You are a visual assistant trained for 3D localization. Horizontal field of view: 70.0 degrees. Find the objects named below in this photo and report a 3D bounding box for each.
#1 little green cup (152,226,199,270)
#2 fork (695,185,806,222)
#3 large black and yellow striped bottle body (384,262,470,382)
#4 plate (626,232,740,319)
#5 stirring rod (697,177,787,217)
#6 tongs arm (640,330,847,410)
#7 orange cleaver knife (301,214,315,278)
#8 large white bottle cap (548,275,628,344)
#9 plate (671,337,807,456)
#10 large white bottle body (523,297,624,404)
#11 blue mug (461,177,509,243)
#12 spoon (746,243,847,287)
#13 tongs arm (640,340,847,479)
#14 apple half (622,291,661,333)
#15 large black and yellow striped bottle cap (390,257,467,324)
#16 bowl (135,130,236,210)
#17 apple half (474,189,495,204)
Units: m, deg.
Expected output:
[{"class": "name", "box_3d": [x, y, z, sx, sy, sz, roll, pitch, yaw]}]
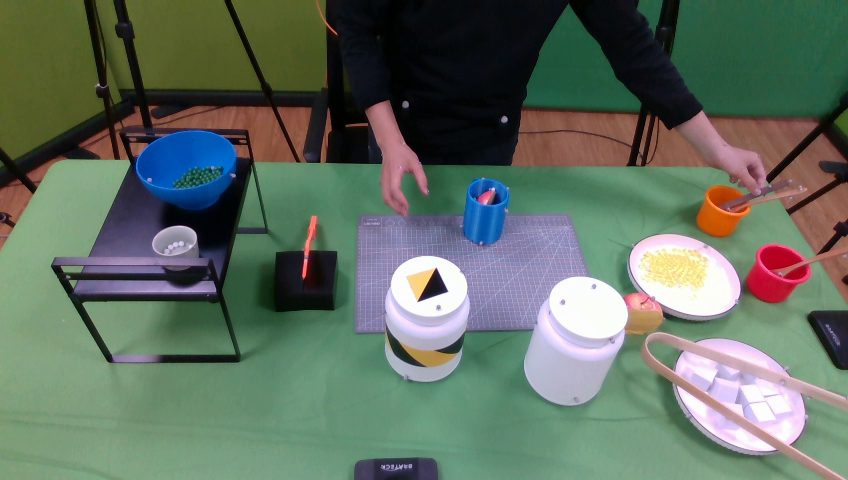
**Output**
[{"class": "little green cup", "box_3d": [-0.364, 0.013, 0.894, 0.061, 0.039, 0.061, 3, 46, -3]}, {"class": "fork", "box_3d": [0.657, -0.073, 1.229, 0.207, 0.019, 0.028, -23, 34, 38]}, {"class": "large black and yellow striped bottle body", "box_3d": [0.002, 0.127, 0.962, 0.131, 0.185, 0.130, 2, 48, -2]}, {"class": "plate", "box_3d": [0.488, 0.071, 1.157, 0.209, 0.038, 0.208, 3, 46, -3]}, {"class": "stirring rod", "box_3d": [0.649, -0.087, 1.242, 0.006, 0.176, 0.014, 15, 56, -52]}, {"class": "tongs arm", "box_3d": [0.543, 0.225, 0.969, 0.384, 0.026, 0.050, 22, 52, 13]}, {"class": "orange cleaver knife", "box_3d": [-0.218, 0.007, 1.131, 0.012, 0.077, 0.210, 7, 19, -9]}, {"class": "large white bottle cap", "box_3d": [0.240, 0.100, 0.890, 0.115, 0.018, 0.114, 3, 47, -3]}, {"class": "plate", "box_3d": [0.504, 0.254, 0.984, 0.208, 0.039, 0.206, 2, 46, -2]}, {"class": "large white bottle body", "box_3d": [0.235, 0.159, 0.952, 0.131, 0.185, 0.130, 2, 47, -2]}, {"class": "blue mug", "box_3d": [0.114, -0.070, 1.211, 0.082, 0.106, 0.115, -12, 48, -15]}, {"class": "spoon", "box_3d": [0.702, 0.043, 1.126, 0.194, 0.022, 0.041, -29, 38, 30]}, {"class": "tongs arm", "box_3d": [0.500, 0.277, 0.919, 0.386, 0.028, 0.028, 34, 59, 22]}, {"class": "apple half", "box_3d": [0.372, 0.123, 1.074, 0.081, 0.075, 0.053, 0, 42, 1]}, {"class": "large black and yellow striped bottle cap", "box_3d": [0.007, 0.072, 0.898, 0.115, 0.019, 0.114, 2, 47, -2]}, {"class": "bowl", "box_3d": [-0.375, -0.102, 0.978, 0.151, 0.077, 0.150, 2, 46, -2]}, {"class": "apple half", "box_3d": [0.109, -0.067, 1.200, 0.033, 0.081, 0.081, 27, 50, 11]}]
